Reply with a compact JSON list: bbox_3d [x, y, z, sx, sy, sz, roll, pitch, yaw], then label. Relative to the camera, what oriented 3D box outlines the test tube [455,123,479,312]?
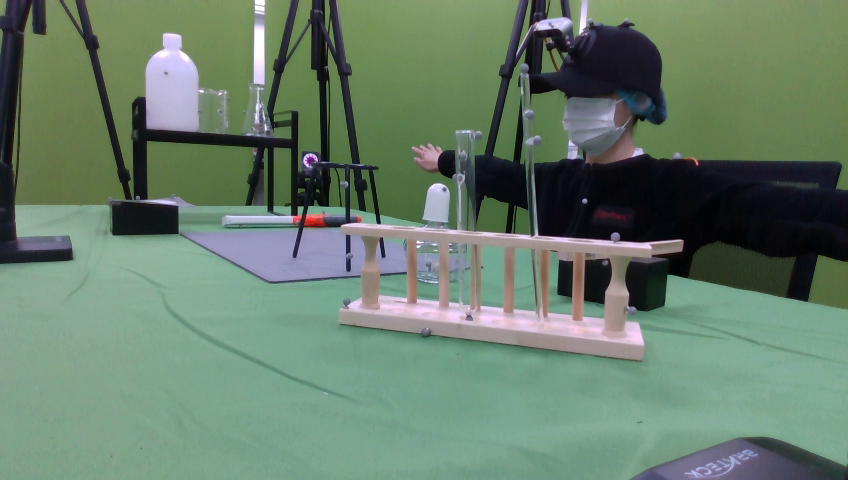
[{"bbox_3d":[0.034,-0.016,0.476,0.017,0.150,0.017,-2,10,1],"label":"test tube"}]

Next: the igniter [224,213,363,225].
[{"bbox_3d":[-0.255,-0.041,1.210,0.278,0.025,0.057,-2,-2,-31],"label":"igniter"}]

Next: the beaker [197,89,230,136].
[{"bbox_3d":[-0.472,-0.283,1.353,0.074,0.100,0.083,-4,10,-35],"label":"beaker"}]

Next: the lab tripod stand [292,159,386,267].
[{"bbox_3d":[-0.105,-0.039,0.798,0.148,0.131,0.148,2,5,0],"label":"lab tripod stand"}]

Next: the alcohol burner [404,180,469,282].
[{"bbox_3d":[0.015,-0.011,0.715,0.078,0.119,0.078,0,7,0],"label":"alcohol burner"}]

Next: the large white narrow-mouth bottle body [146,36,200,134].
[{"bbox_3d":[-0.516,-0.319,1.244,0.102,0.194,0.102,2,7,0],"label":"large white narrow-mouth bottle body"}]

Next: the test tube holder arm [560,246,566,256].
[{"bbox_3d":[0.173,0.007,0.611,0.088,0.015,0.010,-3,9,-30],"label":"test tube holder arm"}]

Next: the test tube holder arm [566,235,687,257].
[{"bbox_3d":[0.215,0.006,0.629,0.179,0.015,0.013,-3,9,-30],"label":"test tube holder arm"}]

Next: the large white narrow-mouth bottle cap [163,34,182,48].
[{"bbox_3d":[-0.514,-0.404,1.233,0.038,0.024,0.037,2,7,0],"label":"large white narrow-mouth bottle cap"}]

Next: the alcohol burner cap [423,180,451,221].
[{"bbox_3d":[0.017,-0.047,0.711,0.034,0.048,0.034,8,5,0],"label":"alcohol burner cap"}]

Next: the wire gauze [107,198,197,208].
[{"bbox_3d":[-0.462,-0.064,1.023,0.126,0.011,0.121,-2,7,-32],"label":"wire gauze"}]

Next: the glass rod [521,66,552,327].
[{"bbox_3d":[0.085,-0.028,0.454,0.008,0.199,0.008,-7,10,2],"label":"glass rod"}]

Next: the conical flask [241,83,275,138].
[{"bbox_3d":[-0.383,-0.297,1.392,0.075,0.122,0.075,2,7,0],"label":"conical flask"}]

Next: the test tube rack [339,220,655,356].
[{"bbox_3d":[0.056,0.032,0.495,0.242,0.085,0.067,4,7,15],"label":"test tube rack"}]
